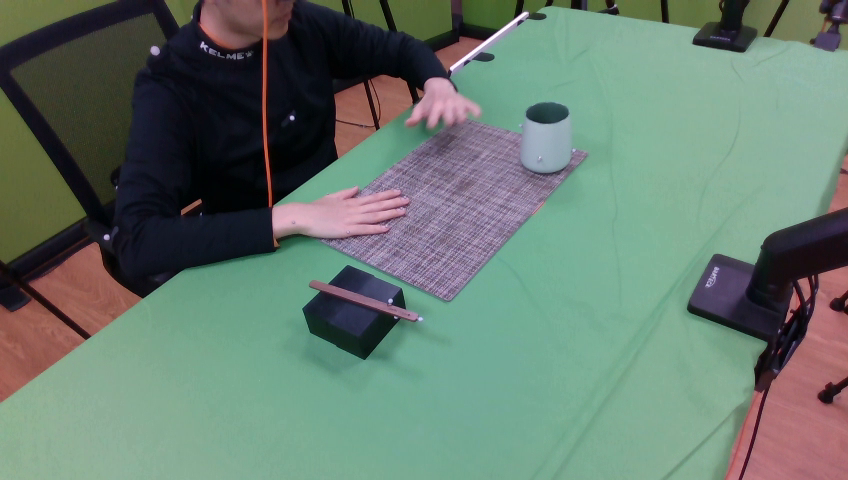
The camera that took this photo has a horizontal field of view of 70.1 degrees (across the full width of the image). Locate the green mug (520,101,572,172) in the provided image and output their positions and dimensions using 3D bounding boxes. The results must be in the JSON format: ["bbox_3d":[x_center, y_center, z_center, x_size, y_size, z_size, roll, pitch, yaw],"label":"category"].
[{"bbox_3d":[0.220,-0.194,1.093,0.092,0.105,0.125,-2,41,7],"label":"green mug"}]

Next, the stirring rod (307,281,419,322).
[{"bbox_3d":[-0.086,0.083,0.822,0.175,0.006,0.014,14,46,23],"label":"stirring rod"}]
